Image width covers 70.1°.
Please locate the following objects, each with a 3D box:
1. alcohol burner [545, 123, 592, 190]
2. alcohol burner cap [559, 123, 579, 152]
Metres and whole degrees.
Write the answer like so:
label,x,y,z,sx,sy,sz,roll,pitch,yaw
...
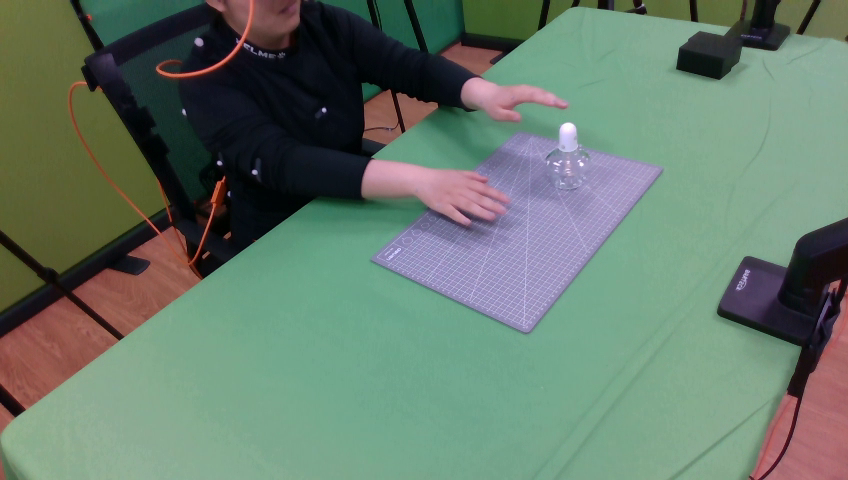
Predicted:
label,x,y,z,sx,sy,sz,roll,pitch,yaw
alcohol burner,0.247,-0.147,1.034,0.078,0.120,0.077,-7,41,6
alcohol burner cap,0.241,-0.173,1.010,0.034,0.048,0.033,-8,44,8
